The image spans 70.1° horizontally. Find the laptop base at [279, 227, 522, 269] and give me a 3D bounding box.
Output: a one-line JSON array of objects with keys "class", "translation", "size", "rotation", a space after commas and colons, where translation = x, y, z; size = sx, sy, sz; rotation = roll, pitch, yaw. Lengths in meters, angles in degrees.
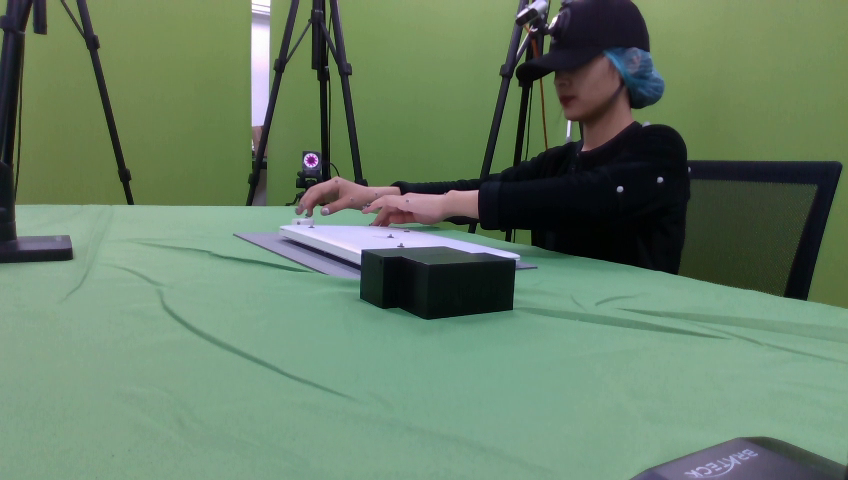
[{"class": "laptop base", "translation": [-0.053, 0.010, 0.911], "size": [0.237, 0.023, 0.352], "rotation": [2, 6, -32]}]

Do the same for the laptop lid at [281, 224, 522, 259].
[{"class": "laptop lid", "translation": [-0.050, -0.002, 0.911], "size": [0.243, 0.013, 0.355], "rotation": [1, 7, -31]}]

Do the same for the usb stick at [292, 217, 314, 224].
[{"class": "usb stick", "translation": [-0.222, -0.026, 1.091], "size": [0.021, 0.027, 0.059], "rotation": [5, 10, 20]}]
